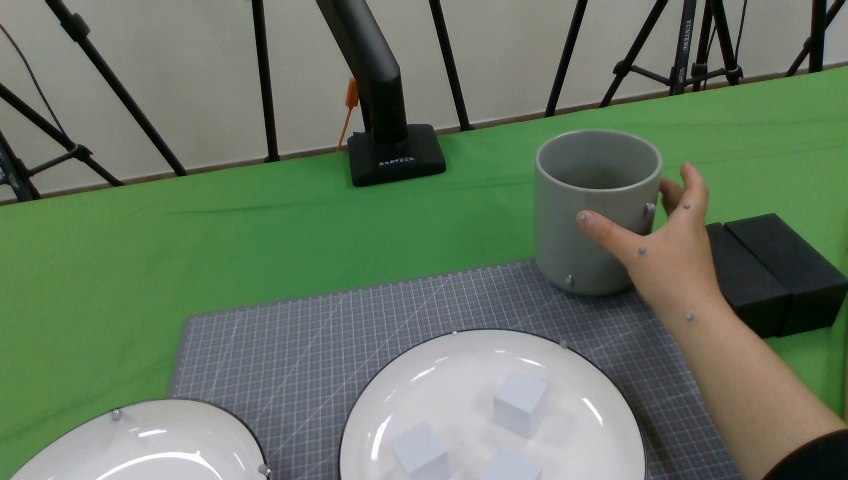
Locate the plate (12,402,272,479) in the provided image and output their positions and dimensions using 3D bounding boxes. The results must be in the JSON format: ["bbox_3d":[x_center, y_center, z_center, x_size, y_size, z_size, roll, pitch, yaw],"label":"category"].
[{"bbox_3d":[-0.199,0.203,0.399,0.209,0.038,0.207,-5,38,5],"label":"plate"}]

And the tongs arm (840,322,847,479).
[{"bbox_3d":[0.361,0.074,0.491,0.028,0.028,0.386,18,44,25],"label":"tongs arm"}]

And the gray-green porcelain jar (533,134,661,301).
[{"bbox_3d":[0.153,-0.016,0.554,0.106,0.127,0.105,-4,38,4],"label":"gray-green porcelain jar"}]

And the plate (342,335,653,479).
[{"bbox_3d":[0.049,0.154,0.424,0.207,0.039,0.205,-4,37,4],"label":"plate"}]
